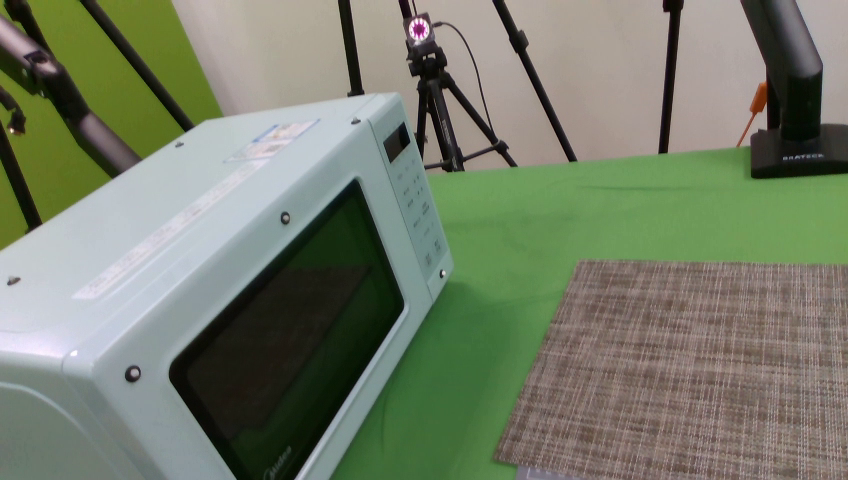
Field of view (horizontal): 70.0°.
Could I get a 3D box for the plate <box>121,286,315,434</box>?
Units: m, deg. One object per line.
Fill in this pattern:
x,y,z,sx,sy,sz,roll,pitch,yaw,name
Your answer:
-0.209,0.125,0.639,0.209,0.038,0.207,-15,28,9,plate

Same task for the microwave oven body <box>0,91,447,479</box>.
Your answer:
-0.216,0.062,0.644,0.324,0.262,0.439,-1,34,28,microwave oven body

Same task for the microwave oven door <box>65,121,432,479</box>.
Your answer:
-0.105,0.076,0.541,0.039,0.246,0.354,-2,33,28,microwave oven door

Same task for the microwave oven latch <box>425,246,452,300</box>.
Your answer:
0.010,0.040,0.752,0.030,0.030,0.079,0,34,29,microwave oven latch

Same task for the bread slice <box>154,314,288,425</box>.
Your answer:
-0.211,0.129,0.643,0.104,0.019,0.131,6,41,36,bread slice
